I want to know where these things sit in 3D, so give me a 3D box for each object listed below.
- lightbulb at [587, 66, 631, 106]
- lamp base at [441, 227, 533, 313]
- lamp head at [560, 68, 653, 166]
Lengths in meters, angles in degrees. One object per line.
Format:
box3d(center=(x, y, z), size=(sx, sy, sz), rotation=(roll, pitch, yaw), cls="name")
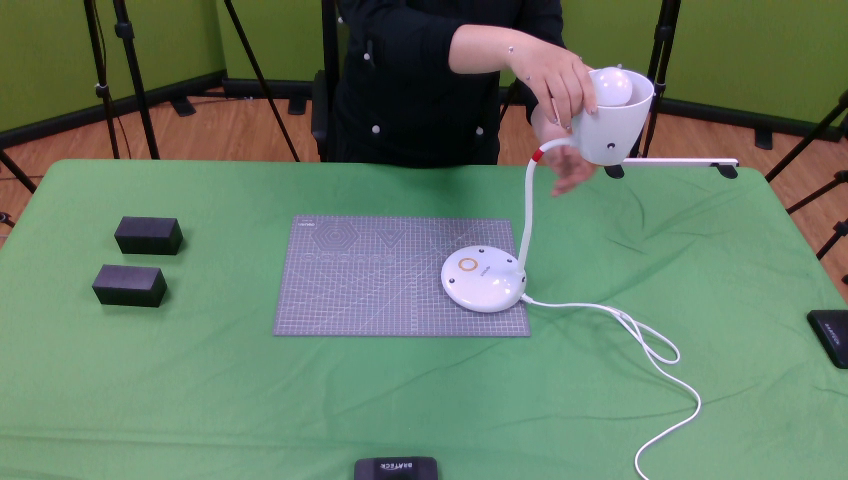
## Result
box3d(center=(0.256, -0.190, 0.852), size=(0.059, 0.108, 0.059), rotation=(-2, 37, 1), cls="lightbulb")
box3d(center=(0.126, 0.021, 1.072), size=(0.179, 0.181, 0.160), rotation=(22, 49, 13), cls="lamp base")
box3d(center=(0.255, -0.168, 0.865), size=(0.112, 0.123, 0.111), rotation=(1, 41, 0), cls="lamp head")
